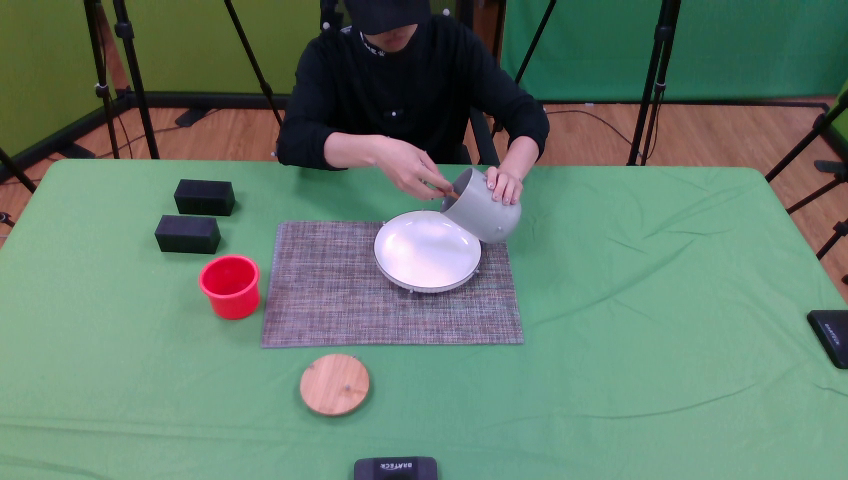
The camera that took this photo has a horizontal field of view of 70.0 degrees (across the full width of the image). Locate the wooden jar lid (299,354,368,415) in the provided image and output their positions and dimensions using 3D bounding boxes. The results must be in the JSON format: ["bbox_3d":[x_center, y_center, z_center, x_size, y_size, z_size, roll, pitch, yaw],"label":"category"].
[{"bbox_3d":[-0.143,0.232,0.964,0.108,0.021,0.107,2,45,-2],"label":"wooden jar lid"}]

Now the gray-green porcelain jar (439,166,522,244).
[{"bbox_3d":[0.109,-0.061,1.125,0.127,0.106,0.105,32,44,-16],"label":"gray-green porcelain jar"}]

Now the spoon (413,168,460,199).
[{"bbox_3d":[0.063,-0.077,1.107,0.194,0.042,0.021,33,23,-1],"label":"spoon"}]

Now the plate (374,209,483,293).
[{"bbox_3d":[0.008,0.024,1.158,0.208,0.039,0.206,2,46,-2],"label":"plate"}]
